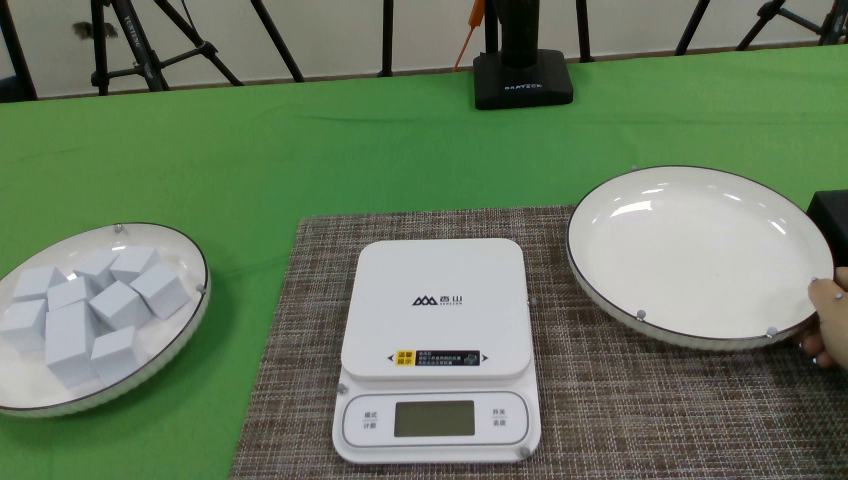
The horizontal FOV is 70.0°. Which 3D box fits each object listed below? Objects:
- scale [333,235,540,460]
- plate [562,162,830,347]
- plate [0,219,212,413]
[{"bbox_3d":[0.011,0.075,0.482,0.148,0.032,0.199,-2,45,6],"label":"scale"},{"bbox_3d":[0.223,0.011,0.517,0.207,0.039,0.205,-3,44,4],"label":"plate"},{"bbox_3d":[-0.288,0.064,0.532,0.209,0.038,0.207,-3,44,3],"label":"plate"}]
